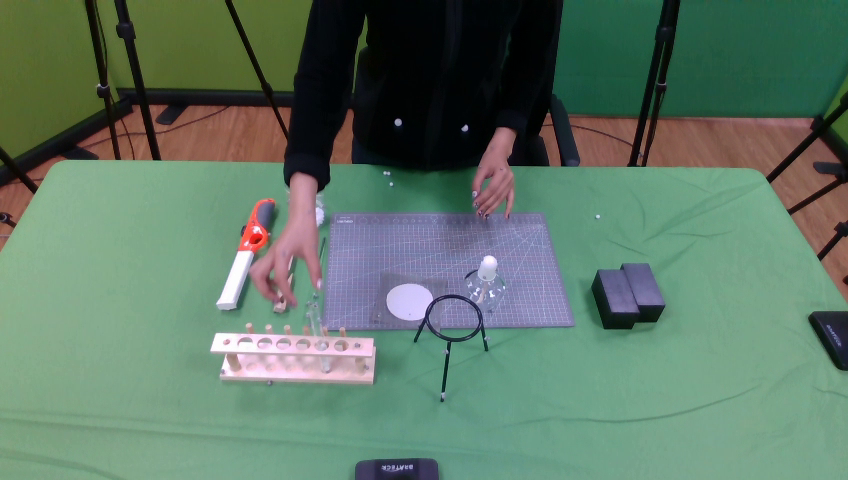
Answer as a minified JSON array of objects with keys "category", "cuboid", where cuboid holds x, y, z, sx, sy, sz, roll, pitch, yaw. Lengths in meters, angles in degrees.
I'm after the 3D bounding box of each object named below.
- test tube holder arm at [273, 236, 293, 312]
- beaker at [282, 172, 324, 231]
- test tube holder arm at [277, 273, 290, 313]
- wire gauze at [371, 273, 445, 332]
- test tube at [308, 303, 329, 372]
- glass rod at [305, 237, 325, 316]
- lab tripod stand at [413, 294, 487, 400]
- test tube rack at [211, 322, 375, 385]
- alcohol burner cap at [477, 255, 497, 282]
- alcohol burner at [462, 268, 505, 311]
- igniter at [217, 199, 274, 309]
[{"category":"test tube holder arm","cuboid":[-0.260,0.059,1.122,0.013,0.015,0.177,29,38,-30]},{"category":"beaker","cuboid":[-0.234,-0.072,1.198,0.084,0.101,0.074,24,49,17]},{"category":"test tube holder arm","cuboid":[-0.254,0.094,1.094,0.010,0.015,0.087,31,38,-29]},{"category":"wire gauze","cuboid":[-0.028,0.109,1.099,0.125,0.011,0.121,7,45,4]},{"category":"test tube","cuboid":[-0.161,0.152,0.925,0.017,0.151,0.017,0,42,0]},{"category":"glass rod","cuboid":[-0.202,0.064,1.131,0.008,0.008,0.198,3,43,0]},{"category":"lab tripod stand","cuboid":[0.044,0.160,0.972,0.148,0.132,0.147,3,44,-2]},{"category":"test tube rack","cuboid":[-0.202,0.177,0.969,0.242,0.085,0.066,3,46,-2]},{"category":"alcohol burner cap","cuboid":[0.110,0.047,1.045,0.034,0.048,0.033,2,52,-2]},{"category":"alcohol burner","cuboid":[0.108,0.071,1.072,0.078,0.119,0.077,4,46,-3]},{"category":"igniter","cuboid":[-0.336,0.018,1.152,0.057,0.025,0.275,-2,45,8]}]
